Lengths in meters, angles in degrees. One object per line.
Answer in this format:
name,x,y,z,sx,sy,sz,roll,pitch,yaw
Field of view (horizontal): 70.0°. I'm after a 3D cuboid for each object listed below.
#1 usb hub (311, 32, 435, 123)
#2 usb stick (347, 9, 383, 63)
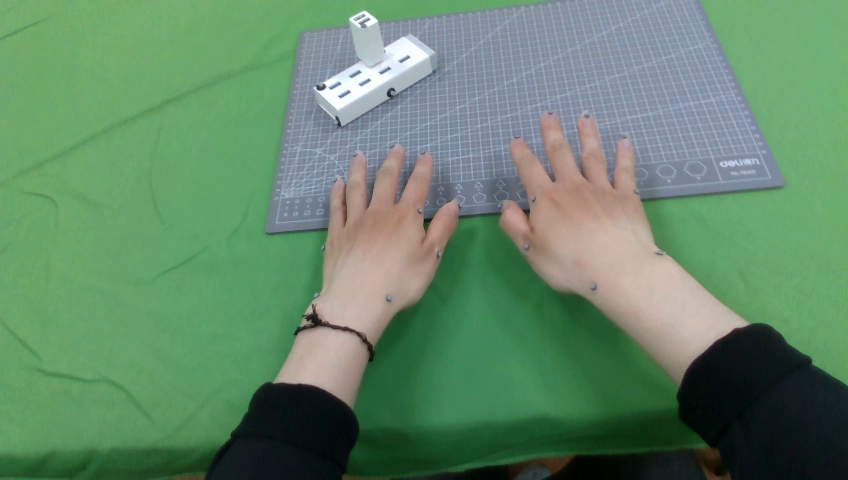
usb hub,-0.052,-0.172,0.632,0.125,0.025,0.049,-34,57,-16
usb stick,-0.058,-0.202,0.618,0.021,0.060,0.027,-37,55,-16
